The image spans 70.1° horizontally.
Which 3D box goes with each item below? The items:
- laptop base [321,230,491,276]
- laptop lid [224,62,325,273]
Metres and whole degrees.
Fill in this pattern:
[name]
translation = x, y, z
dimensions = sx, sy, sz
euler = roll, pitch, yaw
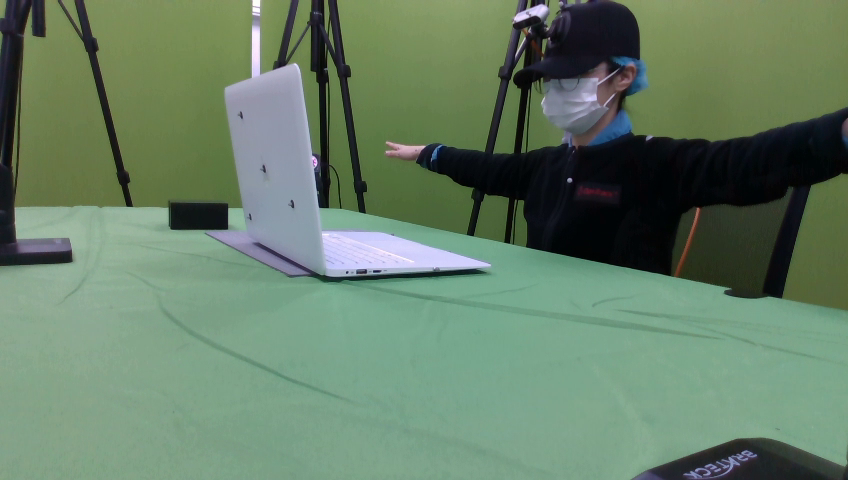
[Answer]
[laptop base]
translation = -0.095, 0.015, 0.888
dimensions = 0.237, 0.023, 0.352
euler = 2, 7, -30
[laptop lid]
translation = -0.210, -0.097, 0.804
dimensions = 0.013, 0.241, 0.355
euler = -12, 15, -28
